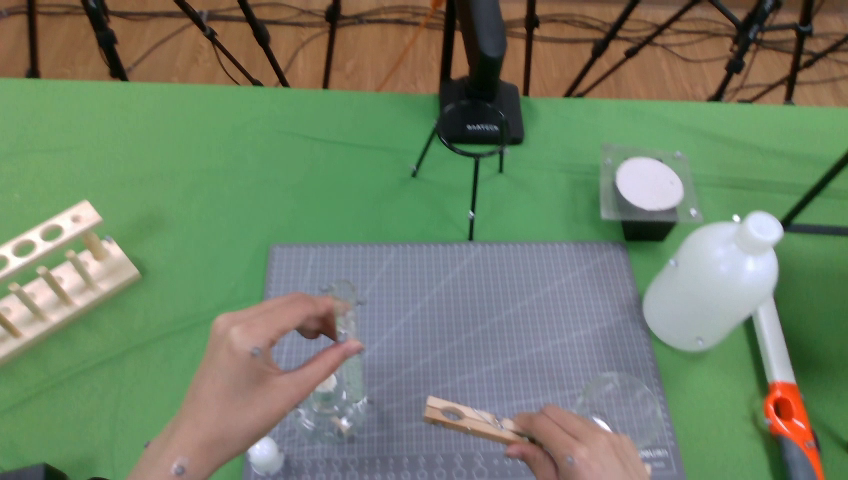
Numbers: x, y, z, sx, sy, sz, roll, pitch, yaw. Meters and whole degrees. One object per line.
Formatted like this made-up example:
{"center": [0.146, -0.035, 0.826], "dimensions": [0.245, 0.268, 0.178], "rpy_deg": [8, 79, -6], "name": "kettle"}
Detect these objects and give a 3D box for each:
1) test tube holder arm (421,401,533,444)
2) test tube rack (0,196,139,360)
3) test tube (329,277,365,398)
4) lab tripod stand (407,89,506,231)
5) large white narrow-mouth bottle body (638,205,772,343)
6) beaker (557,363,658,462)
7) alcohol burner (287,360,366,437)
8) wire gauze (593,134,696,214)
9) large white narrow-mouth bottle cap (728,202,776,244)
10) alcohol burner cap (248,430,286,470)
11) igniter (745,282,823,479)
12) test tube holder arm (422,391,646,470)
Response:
{"center": [0.041, 0.141, 0.466], "dimensions": [0.088, 0.015, 0.010], "rpy_deg": [14, 55, -1], "name": "test tube holder arm"}
{"center": [-0.440, 0.061, 0.636], "dimensions": [0.242, 0.086, 0.066], "rpy_deg": [-38, 68, -24], "name": "test tube rack"}
{"center": [-0.053, 0.075, 0.425], "dimensions": [0.017, 0.151, 0.017], "rpy_deg": [1, 51, -1], "name": "test tube"}
{"center": [0.049, -0.105, 0.753], "dimensions": [0.148, 0.132, 0.147], "rpy_deg": [3, 59, -5], "name": "lab tripod stand"}
{"center": [0.309, 0.030, 0.653], "dimensions": [0.102, 0.196, 0.101], "rpy_deg": [2, 57, -2], "name": "large white narrow-mouth bottle body"}
{"center": [0.174, 0.177, 0.603], "dimensions": [0.084, 0.101, 0.073], "rpy_deg": [-3, 58, -6], "name": "beaker"}
{"center": [-0.095, 0.148, 0.590], "dimensions": [0.078, 0.120, 0.077], "rpy_deg": [3, 57, -5], "name": "alcohol burner"}
{"center": [0.278, -0.084, 0.774], "dimensions": [0.121, 0.011, 0.124], "rpy_deg": [6, 57, -1], "name": "wire gauze"}
{"center": [0.313, -0.017, 0.582], "dimensions": [0.038, 0.024, 0.037], "rpy_deg": [2, 58, -3], "name": "large white narrow-mouth bottle cap"}
{"center": [-0.156, 0.204, 0.593], "dimensions": [0.034, 0.048, 0.033], "rpy_deg": [1, 58, -2], "name": "alcohol burner cap"}
{"center": [0.397, 0.162, 0.677], "dimensions": [0.057, 0.025, 0.274], "rpy_deg": [11, 57, -10], "name": "igniter"}
{"center": [0.085, 0.148, 0.470], "dimensions": [0.178, 0.015, 0.013], "rpy_deg": [15, 55, -1], "name": "test tube holder arm"}
